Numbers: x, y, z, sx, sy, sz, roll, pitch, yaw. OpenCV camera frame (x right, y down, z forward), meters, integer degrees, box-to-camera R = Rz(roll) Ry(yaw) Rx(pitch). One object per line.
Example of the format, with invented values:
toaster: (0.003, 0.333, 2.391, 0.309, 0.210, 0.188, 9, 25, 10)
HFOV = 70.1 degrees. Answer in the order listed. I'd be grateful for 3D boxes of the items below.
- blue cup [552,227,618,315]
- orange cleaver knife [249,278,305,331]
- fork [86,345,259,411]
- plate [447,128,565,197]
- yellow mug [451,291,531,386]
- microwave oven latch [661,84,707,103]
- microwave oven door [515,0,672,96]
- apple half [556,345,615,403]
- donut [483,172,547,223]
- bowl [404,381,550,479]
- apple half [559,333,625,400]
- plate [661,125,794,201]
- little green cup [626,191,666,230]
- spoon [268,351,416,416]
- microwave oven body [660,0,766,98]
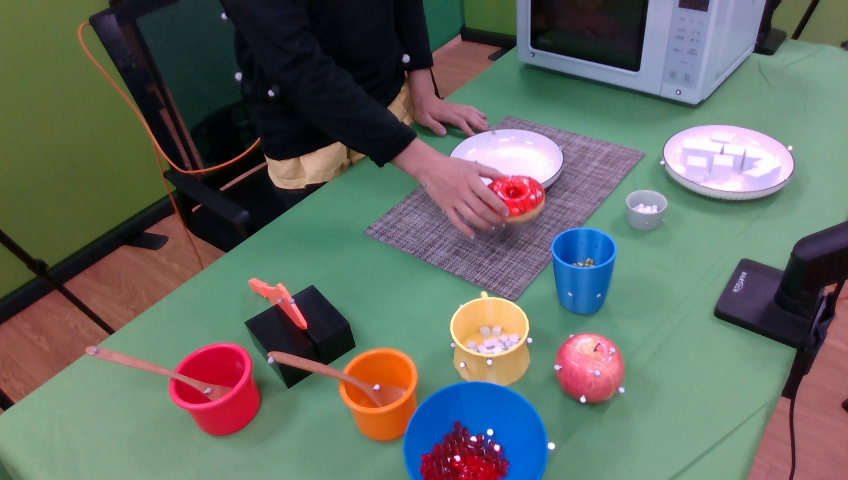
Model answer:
blue cup: (0.218, 0.047, 0.825, 0.092, 0.100, 0.092, -6, 39, 5)
orange cleaver knife: (-0.210, 0.088, 0.855, 0.012, 0.077, 0.210, -28, 15, -25)
fork: (-0.298, 0.166, 0.728, 0.209, 0.018, 0.028, 28, 47, -23)
plate: (0.147, -0.134, 1.092, 0.209, 0.038, 0.208, -4, 40, 4)
yellow mug: (0.085, 0.120, 0.786, 0.100, 0.064, 0.130, -7, 39, 1)
microwave oven latch: (0.517, -0.296, 1.204, 0.078, 0.029, 0.030, 27, 52, 35)
microwave oven door: (0.343, -0.455, 1.259, 0.353, 0.245, 0.039, 26, 51, 33)
apple half: (0.181, 0.167, 0.709, 0.080, 0.081, 0.033, 29, 50, 35)
donut: (0.141, -0.068, 0.937, 0.099, 0.048, 0.098, -6, 45, 7)
bowl: (0.058, 0.235, 0.645, 0.151, 0.077, 0.150, -4, 39, 4)
apple half: (0.209, 0.147, 0.730, 0.080, 0.075, 0.053, 26, 47, 38)
plate: (0.513, -0.128, 1.035, 0.207, 0.039, 0.206, -4, 40, 4)
little green cup: (0.352, -0.046, 0.963, 0.061, 0.039, 0.061, -4, 40, 4)
spoon: (-0.090, 0.162, 0.699, 0.021, 0.195, 0.041, -44, 31, 27)
microwave oven body: (0.472, -0.513, 1.317, 0.438, 0.261, 0.327, 26, 51, 34)
